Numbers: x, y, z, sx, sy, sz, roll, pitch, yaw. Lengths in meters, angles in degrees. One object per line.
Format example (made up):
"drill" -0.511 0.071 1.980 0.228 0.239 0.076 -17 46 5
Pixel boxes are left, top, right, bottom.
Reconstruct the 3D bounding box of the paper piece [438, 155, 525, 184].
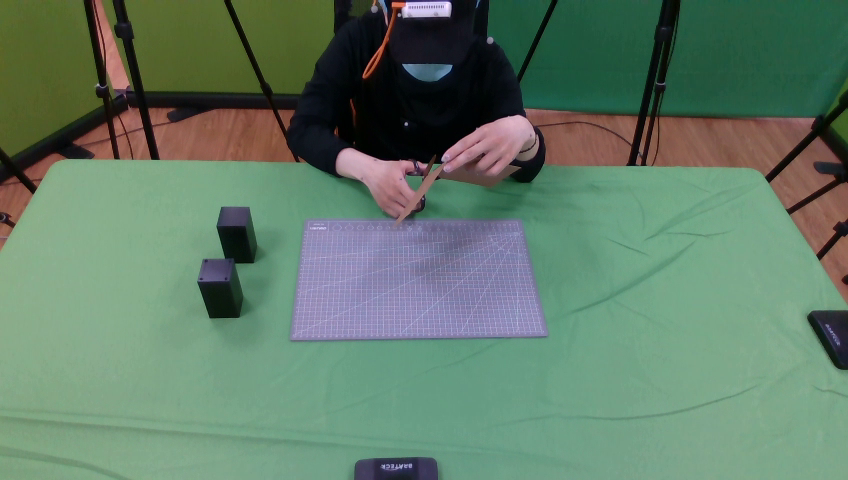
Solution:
"paper piece" 0.095 -0.130 1.126 0.138 0.136 0.008 5 81 -19

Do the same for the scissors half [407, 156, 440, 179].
"scissors half" -0.002 -0.138 1.184 0.013 0.040 0.174 -12 19 -18

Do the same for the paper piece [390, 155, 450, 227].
"paper piece" -0.010 -0.087 1.081 0.004 0.135 0.135 37 72 -9

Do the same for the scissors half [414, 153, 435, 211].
"scissors half" 0.003 -0.112 1.181 0.013 0.176 0.040 -8 58 -18
